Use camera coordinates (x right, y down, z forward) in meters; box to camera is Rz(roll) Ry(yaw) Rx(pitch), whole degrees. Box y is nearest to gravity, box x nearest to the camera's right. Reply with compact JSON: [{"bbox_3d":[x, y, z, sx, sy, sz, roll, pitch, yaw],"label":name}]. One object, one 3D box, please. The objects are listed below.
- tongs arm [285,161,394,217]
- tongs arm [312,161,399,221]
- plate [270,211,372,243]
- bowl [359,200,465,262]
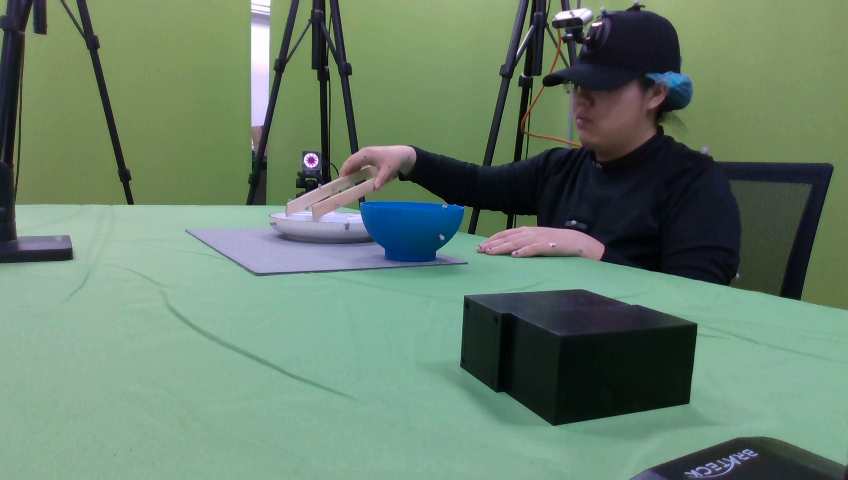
[{"bbox_3d":[-0.149,-0.106,1.169,0.050,0.026,0.385,5,19,17],"label":"tongs arm"},{"bbox_3d":[-0.118,-0.102,1.159,0.028,0.028,0.388,2,19,20],"label":"tongs arm"},{"bbox_3d":[-0.161,-0.023,1.054,0.208,0.039,0.207,2,7,0],"label":"plate"},{"bbox_3d":[-0.018,-0.013,0.859,0.151,0.077,0.151,2,7,0],"label":"bowl"}]
